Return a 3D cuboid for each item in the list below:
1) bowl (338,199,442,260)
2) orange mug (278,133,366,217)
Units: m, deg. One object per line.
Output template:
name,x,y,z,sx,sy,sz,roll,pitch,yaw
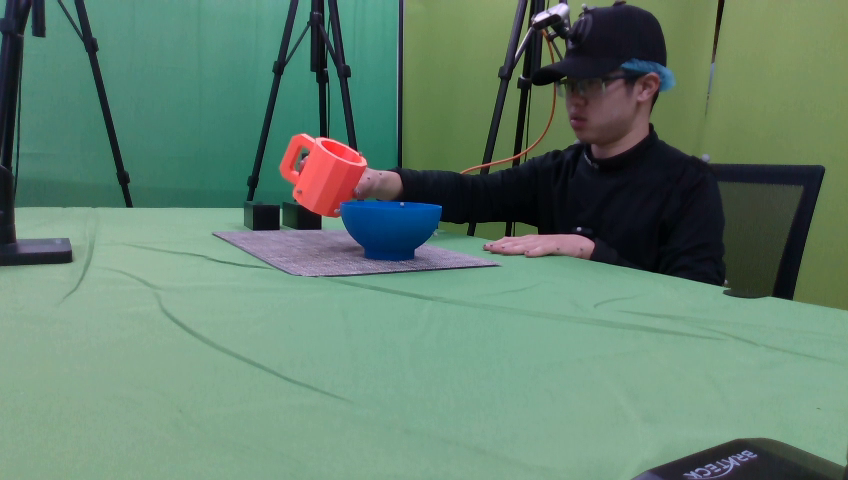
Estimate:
bowl,-0.050,-0.015,0.878,0.151,0.077,0.151,2,8,0
orange mug,-0.163,-0.109,0.946,0.126,0.100,0.083,36,21,5
